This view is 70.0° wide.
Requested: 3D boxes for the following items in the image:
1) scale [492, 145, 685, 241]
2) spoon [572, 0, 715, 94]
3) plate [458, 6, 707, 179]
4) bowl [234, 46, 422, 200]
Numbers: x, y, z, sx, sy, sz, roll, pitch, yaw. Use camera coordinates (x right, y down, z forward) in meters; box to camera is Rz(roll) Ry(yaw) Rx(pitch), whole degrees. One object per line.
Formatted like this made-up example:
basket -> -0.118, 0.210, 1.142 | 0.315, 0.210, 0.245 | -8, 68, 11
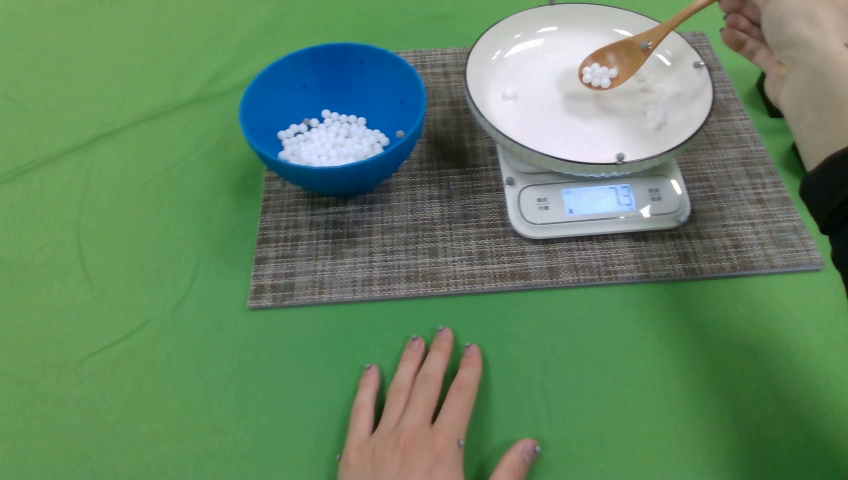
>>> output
scale -> 0.134, -0.090, 0.539 | 0.149, 0.032, 0.199 | -5, 55, -1
spoon -> 0.205, -0.176, 0.477 | 0.193, 0.022, 0.041 | -31, 63, 30
plate -> 0.132, -0.127, 0.525 | 0.209, 0.038, 0.207 | 0, 54, 1
bowl -> -0.075, -0.087, 0.516 | 0.151, 0.077, 0.150 | -1, 54, 2
